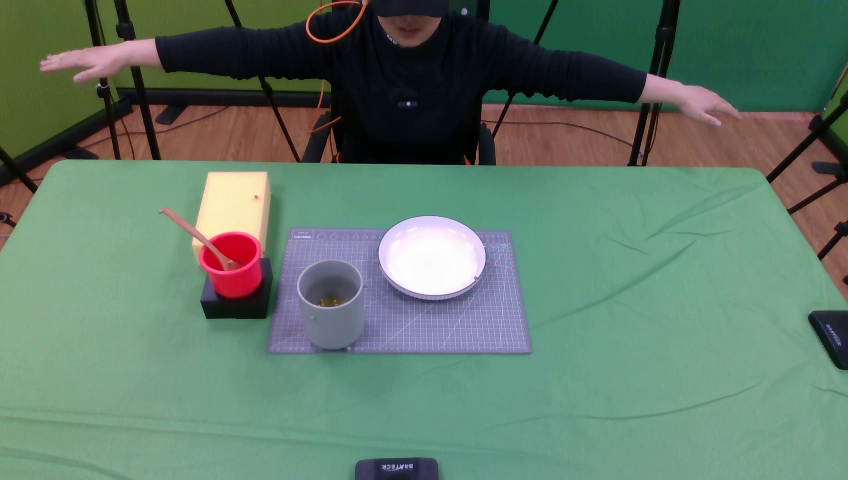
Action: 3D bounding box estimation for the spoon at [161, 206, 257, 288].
[{"bbox_3d":[-0.355,0.011,1.006,0.194,0.021,0.041,48,45,-19],"label":"spoon"}]

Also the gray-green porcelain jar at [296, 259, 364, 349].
[{"bbox_3d":[-0.152,0.111,1.003,0.106,0.127,0.105,2,46,-2],"label":"gray-green porcelain jar"}]

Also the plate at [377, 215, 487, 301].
[{"bbox_3d":[0.014,0.037,1.147,0.208,0.039,0.206,2,46,-2],"label":"plate"}]

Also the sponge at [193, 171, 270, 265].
[{"bbox_3d":[-0.372,-0.047,1.189,0.118,0.061,0.205,-3,47,-6],"label":"sponge"}]
